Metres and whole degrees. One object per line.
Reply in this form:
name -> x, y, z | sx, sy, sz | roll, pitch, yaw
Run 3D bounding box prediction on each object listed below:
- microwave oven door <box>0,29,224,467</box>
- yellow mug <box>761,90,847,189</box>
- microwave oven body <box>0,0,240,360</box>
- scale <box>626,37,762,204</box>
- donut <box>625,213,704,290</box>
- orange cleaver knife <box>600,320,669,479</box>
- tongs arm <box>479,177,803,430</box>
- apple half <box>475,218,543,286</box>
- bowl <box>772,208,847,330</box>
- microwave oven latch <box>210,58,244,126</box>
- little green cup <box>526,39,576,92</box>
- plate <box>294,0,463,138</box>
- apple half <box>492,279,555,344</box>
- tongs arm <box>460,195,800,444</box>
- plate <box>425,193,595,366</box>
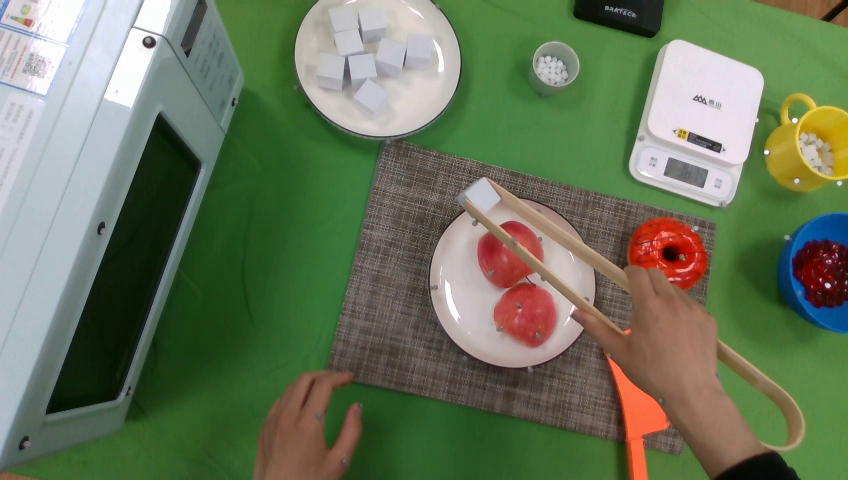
microwave oven door -> -0.288, 0.013, 0.576 | 0.039, 0.244, 0.354 | 16, 80, -4
yellow mug -> 0.509, -0.138, 0.805 | 0.100, 0.064, 0.130 | -19, 83, -9
microwave oven body -> -0.417, -0.067, 0.578 | 0.326, 0.260, 0.440 | 16, 80, -5
scale -> 0.361, -0.160, 0.808 | 0.149, 0.031, 0.200 | 18, 80, -3
donut -> 0.302, 0.014, 0.764 | 0.099, 0.048, 0.098 | 1, 81, -5
orange cleaver knife -> 0.263, 0.205, 0.743 | 0.077, 0.012, 0.210 | -4, 81, -12
tongs arm -> 0.204, 0.051, 0.617 | 0.385, 0.028, 0.028 | 39, 63, 18
apple half -> 0.104, 0.010, 0.728 | 0.081, 0.053, 0.074 | -25, 81, -11
bowl -> 0.504, 0.041, 0.772 | 0.151, 0.077, 0.151 | 1, 82, -6
microwave oven latch -> -0.238, -0.177, 0.715 | 0.030, 0.029, 0.079 | 19, 80, -4
little green cup -> 0.164, -0.225, 0.790 | 0.061, 0.038, 0.061 | 1, 81, -6
plate -> -0.057, -0.225, 0.763 | 0.208, 0.039, 0.207 | 1, 81, -7
apple half -> 0.124, 0.083, 0.728 | 0.081, 0.033, 0.081 | 0, 82, -3
tongs arm -> 0.189, 0.065, 0.609 | 0.051, 0.027, 0.382 | -39, 69, -20
plate -> 0.103, 0.047, 0.738 | 0.209, 0.038, 0.208 | 1, 81, -7
